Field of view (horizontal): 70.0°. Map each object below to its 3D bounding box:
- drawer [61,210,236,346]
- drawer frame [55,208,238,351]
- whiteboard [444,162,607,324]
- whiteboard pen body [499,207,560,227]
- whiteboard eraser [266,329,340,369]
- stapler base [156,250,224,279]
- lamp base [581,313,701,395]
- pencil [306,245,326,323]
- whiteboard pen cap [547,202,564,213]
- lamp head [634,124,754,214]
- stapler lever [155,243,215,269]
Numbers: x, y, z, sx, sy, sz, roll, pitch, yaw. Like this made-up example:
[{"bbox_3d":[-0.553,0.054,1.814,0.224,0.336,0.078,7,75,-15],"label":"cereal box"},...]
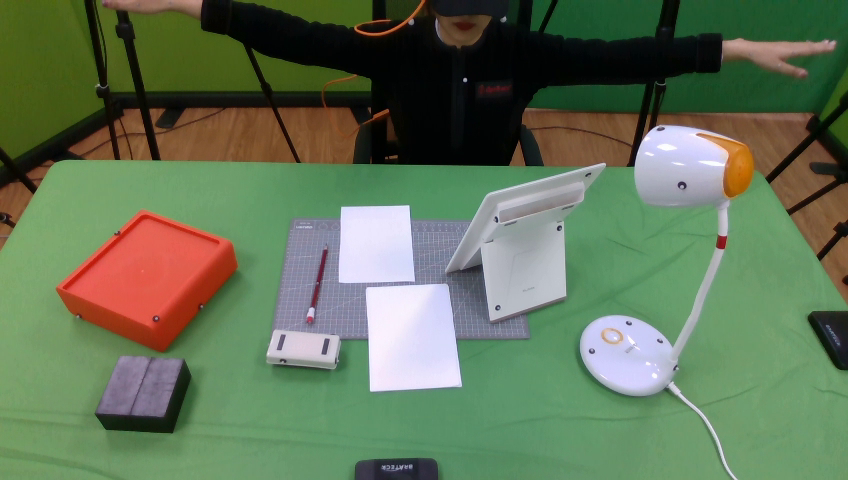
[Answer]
[{"bbox_3d":[-0.474,0.061,1.063,0.194,0.073,0.211,19,49,13],"label":"drawer"},{"bbox_3d":[-0.474,0.062,1.059,0.201,0.083,0.213,18,48,12],"label":"drawer frame"},{"bbox_3d":[0.186,0.025,1.029,0.217,0.306,0.143,-15,68,-18],"label":"whiteboard"},{"bbox_3d":[0.222,-0.051,1.259,0.141,0.017,0.017,-15,49,-16],"label":"whiteboard pen body"},{"bbox_3d":[-0.198,0.181,0.994,0.113,0.042,0.055,5,45,1],"label":"whiteboard eraser"},{"bbox_3d":[-0.431,0.040,1.111,0.130,0.024,0.041,11,38,17],"label":"stapler base"},{"bbox_3d":[0.361,0.144,0.973,0.178,0.181,0.160,34,53,23],"label":"lamp base"},{"bbox_3d":[-0.196,0.076,1.115,0.012,0.012,0.193,4,44,0],"label":"pencil"},{"bbox_3d":[0.277,-0.066,1.275,0.033,0.018,0.018,-18,50,-15],"label":"whiteboard pen cap"},{"bbox_3d":[0.351,-0.089,0.775,0.112,0.113,0.122,-30,30,-28],"label":"lamp head"},{"bbox_3d":[-0.433,0.023,1.097,0.118,0.040,0.026,14,39,14],"label":"stapler lever"}]
